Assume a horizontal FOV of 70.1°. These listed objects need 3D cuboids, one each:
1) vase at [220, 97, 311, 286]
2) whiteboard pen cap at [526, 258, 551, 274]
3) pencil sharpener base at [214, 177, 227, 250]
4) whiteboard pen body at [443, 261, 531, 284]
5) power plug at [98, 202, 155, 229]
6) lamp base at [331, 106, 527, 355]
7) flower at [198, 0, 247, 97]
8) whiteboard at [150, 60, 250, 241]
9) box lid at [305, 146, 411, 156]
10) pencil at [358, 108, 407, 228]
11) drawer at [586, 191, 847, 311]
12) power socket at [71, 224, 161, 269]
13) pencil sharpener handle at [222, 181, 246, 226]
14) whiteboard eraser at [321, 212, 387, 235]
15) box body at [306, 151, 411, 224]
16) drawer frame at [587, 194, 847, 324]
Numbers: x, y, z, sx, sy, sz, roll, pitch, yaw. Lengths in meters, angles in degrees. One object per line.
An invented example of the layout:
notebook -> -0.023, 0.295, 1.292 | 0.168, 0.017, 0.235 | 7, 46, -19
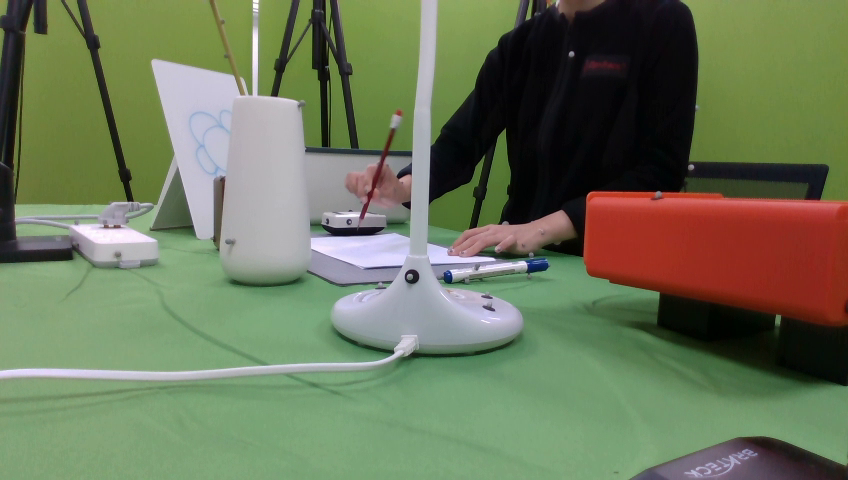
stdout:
vase -> -0.172, -0.052, 0.662 | 0.098, 0.200, 0.098 | 3, 8, 0
whiteboard pen cap -> 0.141, 0.033, 0.758 | 0.033, 0.018, 0.018 | -7, 11, -27
pencil sharpener base -> -0.265, -0.036, 0.870 | 0.061, 0.107, 0.076 | -2, 8, -29
whiteboard pen body -> 0.087, 0.038, 0.734 | 0.141, 0.017, 0.017 | -5, 10, -27
power plug -> -0.416, -0.027, 0.848 | 0.073, 0.052, 0.035 | 0, 8, -28
lamp base -> 0.006, -0.012, 0.478 | 0.161, 0.180, 0.179 | 2, 10, 2
flower -> -0.187, -0.133, 0.648 | 0.038, 0.362, 0.044 | -1, 22, 43
whiteboard -> -0.408, -0.139, 1.093 | 0.143, 0.305, 0.218 | -15, -1, 26
box lid -> -0.229, -0.200, 1.360 | 0.373, 0.015, 0.262 | -3, 9, -33
pencil -> -0.065, -0.105, 0.904 | 0.012, 0.194, 0.012 | 22, 13, -5
drawer -> 0.281, 0.000, 0.512 | 0.195, 0.073, 0.210 | -1, 7, -29
power socket -> -0.408, 0.004, 0.793 | 0.072, 0.032, 0.225 | -2, 8, -38
pencil sharpener handle -> -0.289, -0.055, 0.912 | 0.036, 0.067, 0.030 | -3, 9, -29
whiteboard eraser -> -0.128, -0.031, 1.108 | 0.113, 0.042, 0.055 | -3, 7, -38
box body -> -0.230, -0.126, 1.371 | 0.366, 0.160, 0.253 | -2, 8, -33
drawer frame -> 0.285, 0.004, 0.508 | 0.203, 0.082, 0.212 | -1, 6, -30
